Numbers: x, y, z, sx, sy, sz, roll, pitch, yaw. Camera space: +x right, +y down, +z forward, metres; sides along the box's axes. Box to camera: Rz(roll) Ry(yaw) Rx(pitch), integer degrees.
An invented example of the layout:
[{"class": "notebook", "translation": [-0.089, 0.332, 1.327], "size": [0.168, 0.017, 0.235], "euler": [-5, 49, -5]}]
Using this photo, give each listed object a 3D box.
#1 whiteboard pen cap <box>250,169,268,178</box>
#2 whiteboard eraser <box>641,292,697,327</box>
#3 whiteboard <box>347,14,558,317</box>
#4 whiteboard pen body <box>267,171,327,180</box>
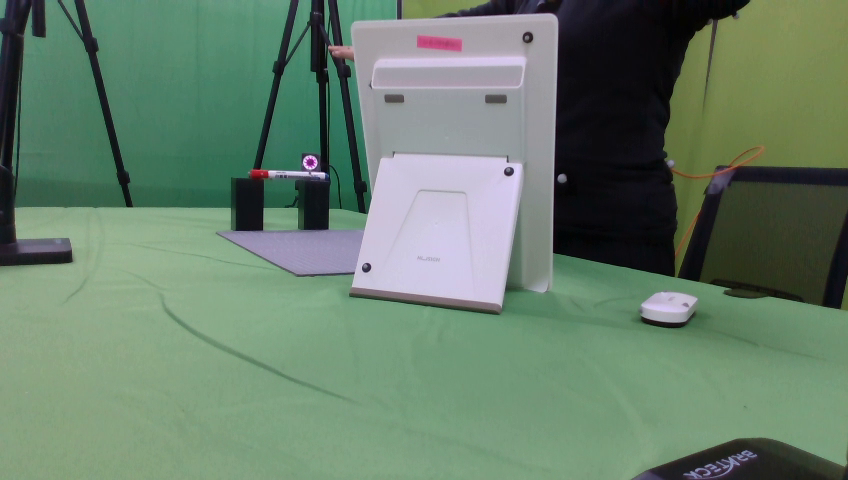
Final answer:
[{"class": "whiteboard pen cap", "translation": [-0.315, -0.127, 1.155], "size": [0.032, 0.017, 0.017], "euler": [1, 7, -24]}, {"class": "whiteboard eraser", "translation": [0.240, 0.066, 0.590], "size": [0.041, 0.019, 0.102], "euler": [6, 7, 31]}, {"class": "whiteboard", "translation": [0.012, -0.056, 0.609], "size": [0.216, 0.305, 0.144], "euler": [5, 27, 20]}, {"class": "whiteboard pen body", "translation": [-0.260, -0.126, 1.181], "size": [0.141, 0.017, 0.017], "euler": [-2, 8, -26]}]
